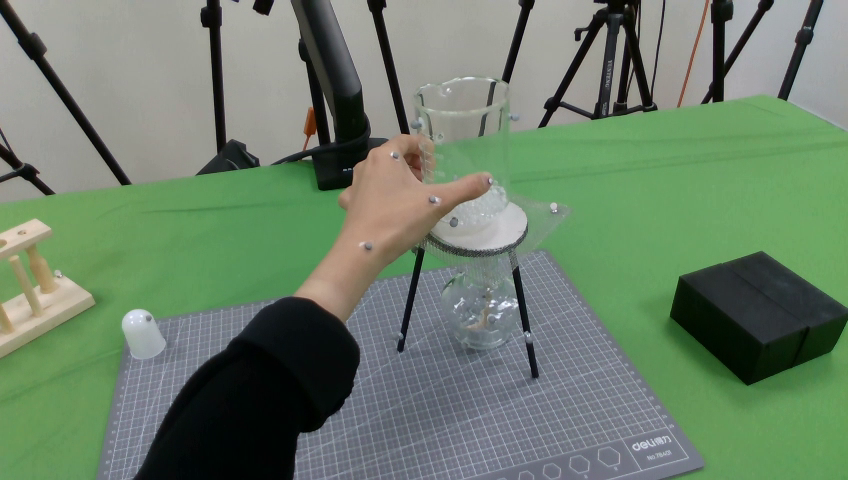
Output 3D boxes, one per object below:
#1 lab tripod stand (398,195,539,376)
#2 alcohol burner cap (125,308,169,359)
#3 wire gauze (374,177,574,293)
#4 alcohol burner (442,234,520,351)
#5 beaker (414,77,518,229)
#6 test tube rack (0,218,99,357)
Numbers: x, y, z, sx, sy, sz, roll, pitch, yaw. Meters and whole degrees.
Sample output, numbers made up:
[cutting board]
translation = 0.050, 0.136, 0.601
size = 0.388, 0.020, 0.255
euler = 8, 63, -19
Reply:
[lab tripod stand]
translation = 0.048, 0.039, 0.539
size = 0.148, 0.132, 0.147
euler = 0, 34, 0
[alcohol burner cap]
translation = -0.262, 0.085, 0.569
size = 0.034, 0.048, 0.033
euler = -1, 35, 1
[wire gauze]
translation = 0.042, -0.015, 0.499
size = 0.124, 0.011, 0.121
euler = 26, 43, 31
[alcohol burner]
translation = 0.054, 0.043, 0.551
size = 0.078, 0.120, 0.077
euler = 0, 37, 1
[beaker]
translation = 0.032, -0.067, 0.473
size = 0.074, 0.101, 0.083
euler = -16, 36, -15
[test tube rack]
translation = -0.444, 0.077, 0.555
size = 0.066, 0.086, 0.242
euler = 22, 41, 31
